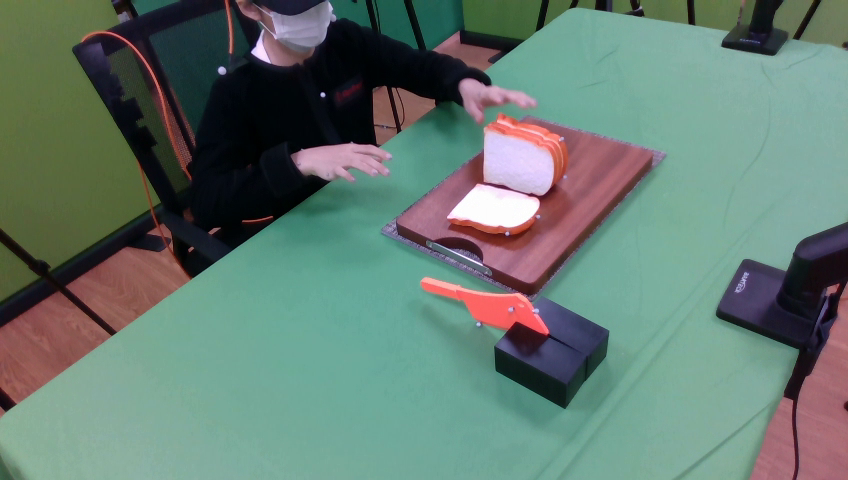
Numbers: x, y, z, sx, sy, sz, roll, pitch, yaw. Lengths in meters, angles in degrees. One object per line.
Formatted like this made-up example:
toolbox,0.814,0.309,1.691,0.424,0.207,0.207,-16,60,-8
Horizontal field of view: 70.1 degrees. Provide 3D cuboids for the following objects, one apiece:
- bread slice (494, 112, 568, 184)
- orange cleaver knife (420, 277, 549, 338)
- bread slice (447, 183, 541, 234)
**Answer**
bread slice,0.176,-0.145,1.015,0.133,0.107,0.018,26,50,23
orange cleaver knife,0.076,0.089,0.813,0.209,0.077,0.012,9,43,47
bread slice,0.117,-0.047,0.964,0.130,0.019,0.105,17,44,31
